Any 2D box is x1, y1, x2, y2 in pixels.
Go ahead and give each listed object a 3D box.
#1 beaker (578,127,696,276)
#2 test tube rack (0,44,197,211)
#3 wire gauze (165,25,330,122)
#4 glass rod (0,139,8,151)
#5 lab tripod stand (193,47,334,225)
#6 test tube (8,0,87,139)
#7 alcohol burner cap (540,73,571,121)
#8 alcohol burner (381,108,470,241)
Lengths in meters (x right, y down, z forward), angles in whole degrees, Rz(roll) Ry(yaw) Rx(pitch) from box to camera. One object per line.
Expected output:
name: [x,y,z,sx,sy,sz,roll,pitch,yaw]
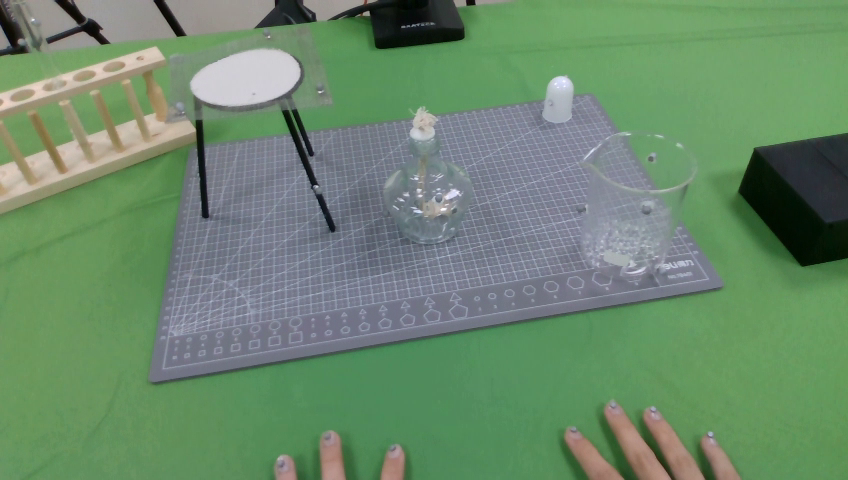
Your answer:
beaker: [0.160,-0.027,0.481,0.084,0.101,0.073,7,46,12]
test tube rack: [-0.366,-0.110,0.609,0.242,0.086,0.066,-26,49,-21]
wire gauze: [-0.146,-0.135,0.488,0.125,0.011,0.120,-13,46,-8]
glass rod: [-0.421,-0.142,0.550,0.008,0.201,0.008,-3,48,4]
lab tripod stand: [-0.142,-0.088,0.536,0.148,0.133,0.147,-2,47,3]
test tube: [-0.365,-0.164,0.592,0.017,0.151,0.017,-1,41,1]
alcohol burner cap: [0.142,-0.156,0.650,0.034,0.048,0.033,-2,45,2]
alcohol burner: [0.001,-0.057,0.511,0.078,0.120,0.077,-2,44,2]
